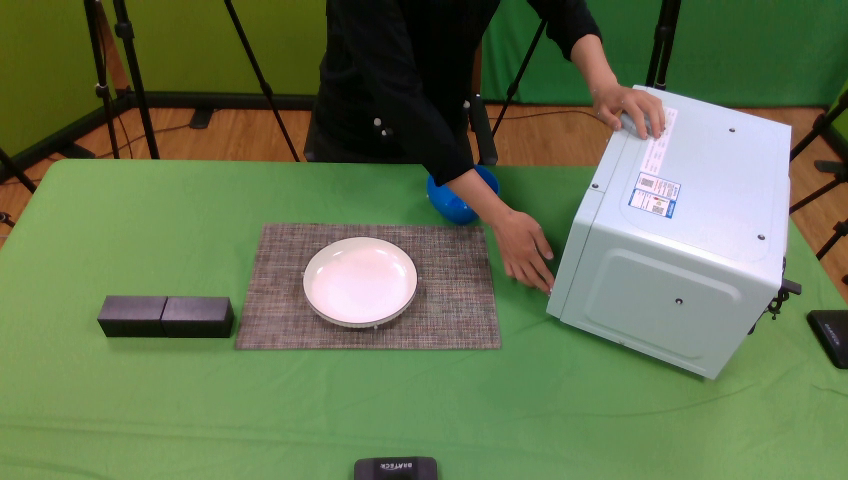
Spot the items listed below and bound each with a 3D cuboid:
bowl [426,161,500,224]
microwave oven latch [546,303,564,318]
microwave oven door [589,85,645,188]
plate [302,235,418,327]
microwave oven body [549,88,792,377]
[{"bbox_3d":[0.076,-0.086,1.248,0.151,0.077,0.150,2,46,-2],"label":"bowl"},{"bbox_3d":[0.242,0.102,1.081,0.030,0.029,0.079,21,48,17],"label":"microwave oven latch"},{"bbox_3d":[0.341,-0.107,1.149,0.039,0.245,0.354,20,48,15],"label":"microwave oven door"},{"bbox_3d":[-0.114,0.077,1.098,0.208,0.039,0.206,2,46,-2],"label":"plate"},{"bbox_3d":[0.456,-0.028,1.088,0.325,0.261,0.440,20,47,16],"label":"microwave oven body"}]
